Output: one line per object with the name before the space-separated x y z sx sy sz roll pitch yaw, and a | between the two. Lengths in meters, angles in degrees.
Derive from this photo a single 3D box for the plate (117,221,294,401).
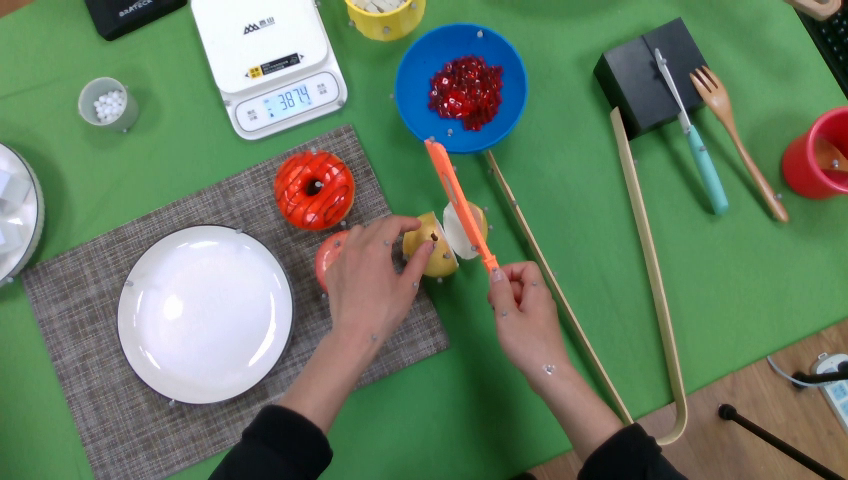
plate | -0.252 0.082 0.715 0.209 0.038 0.208 0 83 3

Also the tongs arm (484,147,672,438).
tongs arm | 0.175 0.054 0.703 0.051 0.026 0.383 -25 84 -5

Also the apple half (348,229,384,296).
apple half | -0.062 0.029 0.693 0.033 0.081 0.081 9 83 6

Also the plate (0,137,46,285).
plate | -0.563 -0.032 0.746 0.207 0.039 0.207 0 83 3

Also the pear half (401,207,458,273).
pear half | 0.001 0.003 0.679 0.056 0.110 0.076 -32 80 1

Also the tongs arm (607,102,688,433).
tongs arm | 0.257 0.026 0.707 0.028 0.028 0.386 -9 84 -6

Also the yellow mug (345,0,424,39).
yellow mug | -0.065 -0.315 0.740 0.130 0.064 0.100 33 87 7

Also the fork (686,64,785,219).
fork | 0.362 -0.111 0.698 0.028 0.018 0.208 -34 99 -3

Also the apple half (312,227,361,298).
apple half | -0.100 0.024 0.696 0.053 0.075 0.080 9 87 7

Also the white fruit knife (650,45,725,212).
white fruit knife | 0.301 -0.126 0.695 0.016 0.027 0.208 -27 97 -1

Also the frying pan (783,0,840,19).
frying pan | 0.257 -0.391 0.715 0.485 0.103 0.306 38 88 14

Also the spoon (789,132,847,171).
spoon | 0.474 -0.067 0.648 0.041 0.022 0.191 -30 39 -1

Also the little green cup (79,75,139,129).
little green cup | -0.389 -0.169 0.754 0.061 0.039 0.061 0 83 3

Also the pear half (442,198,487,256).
pear half | 0.053 -0.021 0.699 0.031 0.088 0.070 -29 80 -33

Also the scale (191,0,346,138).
scale | -0.194 -0.241 0.755 0.148 0.031 0.200 -20 84 1

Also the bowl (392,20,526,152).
bowl | 0.041 -0.169 0.713 0.151 0.077 0.151 0 84 3

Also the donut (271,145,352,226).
donut | -0.134 -0.064 0.722 0.099 0.048 0.099 0 84 4

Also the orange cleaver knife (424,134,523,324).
orange cleaver knife | 0.049 -0.014 0.621 0.012 0.077 0.211 -26 96 -4
